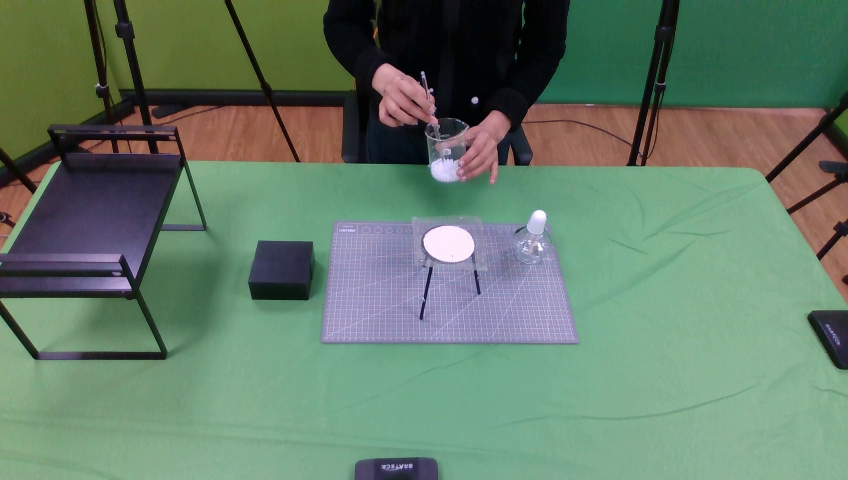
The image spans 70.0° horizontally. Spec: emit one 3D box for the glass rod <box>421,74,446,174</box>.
[{"bbox_3d":[0.018,-0.198,1.061,0.008,0.201,0.008,-9,40,8],"label":"glass rod"}]

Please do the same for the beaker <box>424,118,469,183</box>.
[{"bbox_3d":[0.045,-0.163,1.109,0.084,0.101,0.073,-16,44,-9],"label":"beaker"}]

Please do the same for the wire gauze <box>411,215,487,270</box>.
[{"bbox_3d":[0.041,0.002,1.026,0.125,0.011,0.120,1,46,-3],"label":"wire gauze"}]

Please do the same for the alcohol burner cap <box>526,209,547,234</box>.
[{"bbox_3d":[0.213,-0.037,1.133,0.034,0.048,0.033,4,51,-5],"label":"alcohol burner cap"}]

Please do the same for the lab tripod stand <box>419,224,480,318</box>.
[{"bbox_3d":[0.034,0.052,1.070,0.148,0.132,0.147,3,48,-3],"label":"lab tripod stand"}]

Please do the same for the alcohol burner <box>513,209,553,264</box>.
[{"bbox_3d":[0.210,-0.012,1.159,0.078,0.120,0.077,2,44,-1],"label":"alcohol burner"}]
